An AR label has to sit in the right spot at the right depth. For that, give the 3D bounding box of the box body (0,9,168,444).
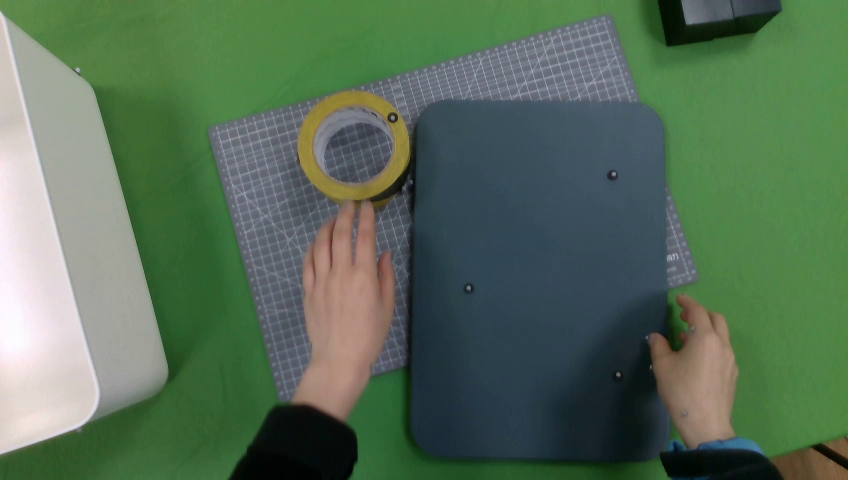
[{"bbox_3d":[-0.420,0.005,0.555,0.254,0.160,0.363,-18,85,-2],"label":"box body"}]

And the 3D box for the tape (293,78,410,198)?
[{"bbox_3d":[-0.072,-0.100,0.616,0.117,0.053,0.116,0,86,0],"label":"tape"}]

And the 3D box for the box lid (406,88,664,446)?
[{"bbox_3d":[0.115,0.022,0.627,0.263,0.015,0.370,1,86,0],"label":"box lid"}]
